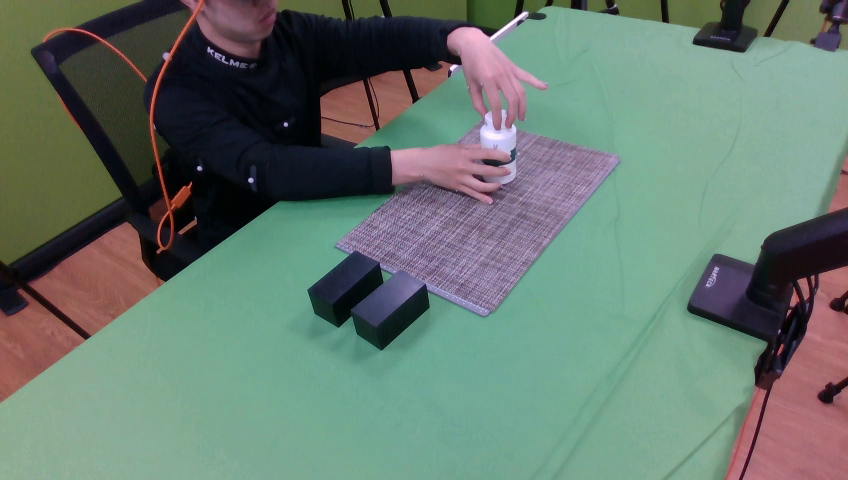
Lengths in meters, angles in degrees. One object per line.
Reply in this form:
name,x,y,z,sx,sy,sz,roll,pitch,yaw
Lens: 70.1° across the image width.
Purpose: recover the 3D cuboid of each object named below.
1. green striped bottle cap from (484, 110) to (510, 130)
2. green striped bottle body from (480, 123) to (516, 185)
green striped bottle cap,0.123,-0.203,1.022,0.044,0.020,0.044,-5,35,4
green striped bottle body,0.130,-0.162,1.057,0.063,0.120,0.063,-4,40,4
